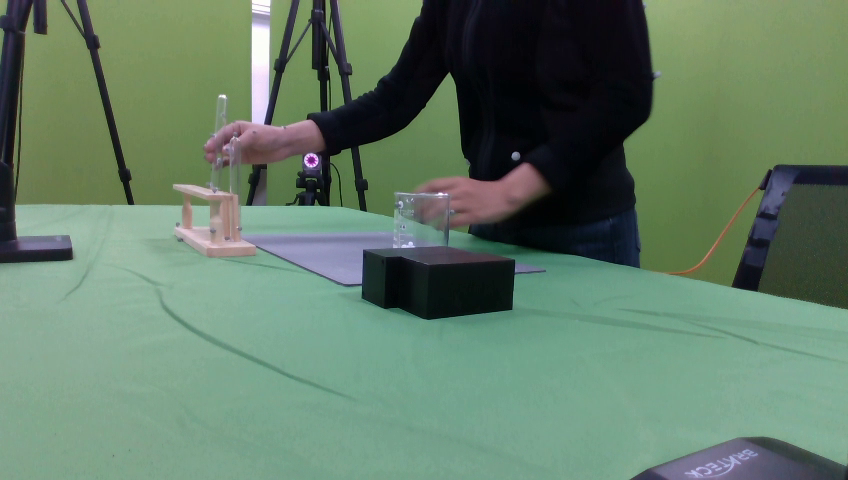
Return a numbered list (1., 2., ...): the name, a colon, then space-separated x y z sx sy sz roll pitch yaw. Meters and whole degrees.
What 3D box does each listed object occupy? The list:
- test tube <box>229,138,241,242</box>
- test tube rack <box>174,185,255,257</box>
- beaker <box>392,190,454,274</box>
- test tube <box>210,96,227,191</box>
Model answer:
1. test tube: -0.270 -0.071 0.866 0.017 0.150 0.017 2 8 0
2. test tube rack: -0.324 -0.035 0.922 0.067 0.085 0.241 -2 9 -32
3. beaker: -0.005 -0.011 0.760 0.074 0.100 0.083 -2 8 -32
4. test tube: -0.326 -0.153 0.961 0.017 0.150 0.017 5 2 0
